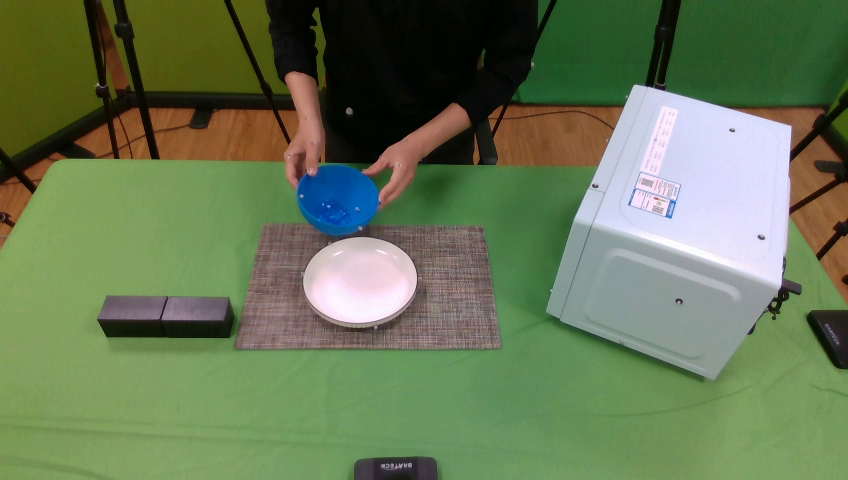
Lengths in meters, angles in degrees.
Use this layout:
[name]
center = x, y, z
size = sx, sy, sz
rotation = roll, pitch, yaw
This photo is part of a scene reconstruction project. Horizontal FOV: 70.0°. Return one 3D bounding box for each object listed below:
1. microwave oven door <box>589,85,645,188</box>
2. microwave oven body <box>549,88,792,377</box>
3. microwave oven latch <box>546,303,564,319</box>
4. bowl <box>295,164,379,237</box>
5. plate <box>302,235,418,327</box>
[microwave oven door]
center = 0.342, -0.107, 1.149
size = 0.039, 0.245, 0.354
rotation = 20, 48, 15
[microwave oven body]
center = 0.456, -0.028, 1.088
size = 0.325, 0.261, 0.440
rotation = 20, 47, 16
[microwave oven latch]
center = 0.242, 0.102, 1.081
size = 0.030, 0.029, 0.079
rotation = 21, 48, 17
[bowl]
center = -0.164, -0.060, 1.123
size = 0.152, 0.077, 0.150
rotation = 8, 51, -10
[plate]
center = -0.114, 0.077, 1.098
size = 0.208, 0.039, 0.206
rotation = 2, 46, -2
